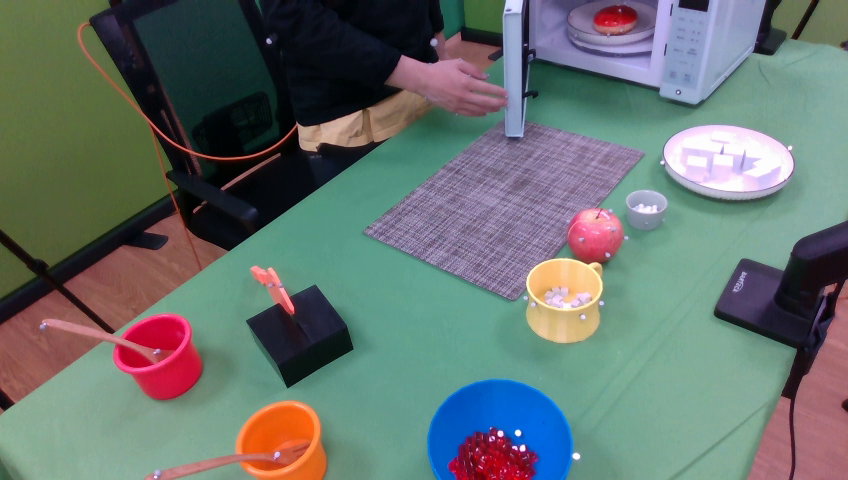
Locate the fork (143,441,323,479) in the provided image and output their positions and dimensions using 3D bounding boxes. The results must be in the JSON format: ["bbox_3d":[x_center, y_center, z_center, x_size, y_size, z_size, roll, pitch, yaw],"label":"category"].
[{"bbox_3d":[-0.189,0.231,0.631,0.028,0.018,0.209,36,13,37],"label":"fork"}]

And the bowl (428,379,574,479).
[{"bbox_3d":[0.082,0.233,0.644,0.151,0.077,0.150,-4,39,4],"label":"bowl"}]

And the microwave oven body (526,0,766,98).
[{"bbox_3d":[0.472,-0.513,1.317,0.438,0.261,0.327,25,51,34],"label":"microwave oven body"}]

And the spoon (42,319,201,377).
[{"bbox_3d":[-0.385,0.135,0.779,0.195,0.021,0.041,28,36,-26],"label":"spoon"}]

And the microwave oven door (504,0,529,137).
[{"bbox_3d":[0.190,-0.406,1.226,0.039,0.245,0.354,1,41,11],"label":"microwave oven door"}]

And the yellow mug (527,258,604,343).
[{"bbox_3d":[0.202,0.072,0.825,0.131,0.064,0.099,-32,46,-27],"label":"yellow mug"}]

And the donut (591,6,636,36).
[{"bbox_3d":[0.427,-0.496,1.366,0.099,0.048,0.098,-6,40,5],"label":"donut"}]

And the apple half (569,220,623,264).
[{"bbox_3d":[0.251,0.010,0.884,0.081,0.081,0.032,3,37,12],"label":"apple half"}]

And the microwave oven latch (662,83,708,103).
[{"bbox_3d":[0.518,-0.296,1.204,0.078,0.029,0.030,27,52,35],"label":"microwave oven latch"}]

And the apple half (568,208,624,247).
[{"bbox_3d":[0.259,-0.014,0.914,0.080,0.075,0.053,0,36,15],"label":"apple half"}]

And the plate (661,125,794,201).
[{"bbox_3d":[0.513,-0.128,1.035,0.207,0.039,0.206,-4,40,4],"label":"plate"}]

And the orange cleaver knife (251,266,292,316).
[{"bbox_3d":[-0.221,0.071,0.873,0.012,0.077,0.210,-25,11,-21],"label":"orange cleaver knife"}]

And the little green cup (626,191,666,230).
[{"bbox_3d":[0.352,-0.046,0.963,0.061,0.039,0.061,-4,40,4],"label":"little green cup"}]

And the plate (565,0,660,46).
[{"bbox_3d":[0.427,-0.489,1.376,0.209,0.038,0.208,-5,40,4],"label":"plate"}]
